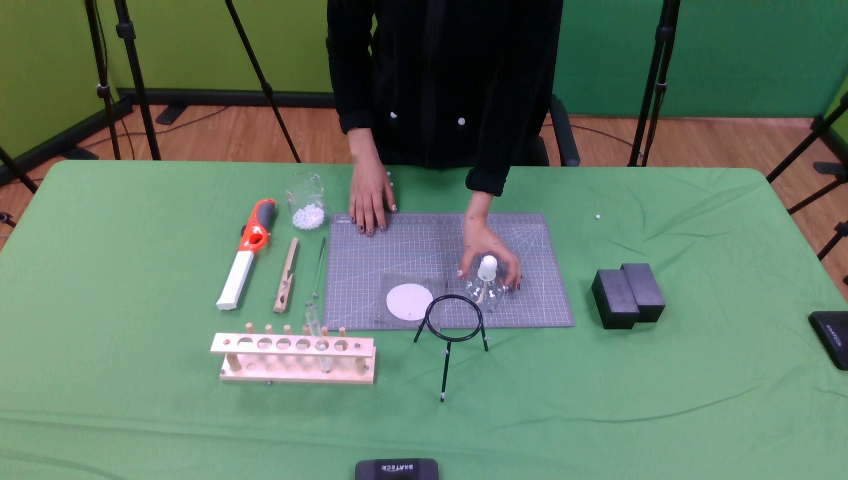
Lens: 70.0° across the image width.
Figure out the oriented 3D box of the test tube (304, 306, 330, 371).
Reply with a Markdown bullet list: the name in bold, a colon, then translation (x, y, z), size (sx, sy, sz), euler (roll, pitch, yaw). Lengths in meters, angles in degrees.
- **test tube**: translation (-0.162, 0.154, 0.925), size (0.017, 0.151, 0.017), euler (-2, 44, 2)

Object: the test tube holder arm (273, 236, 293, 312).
- **test tube holder arm**: translation (-0.260, 0.059, 1.122), size (0.013, 0.015, 0.177), euler (29, 38, -29)

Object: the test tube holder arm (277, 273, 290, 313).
- **test tube holder arm**: translation (-0.254, 0.094, 1.094), size (0.010, 0.015, 0.087), euler (30, 38, -28)

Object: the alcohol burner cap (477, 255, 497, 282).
- **alcohol burner cap**: translation (0.110, 0.047, 1.045), size (0.034, 0.048, 0.033), euler (2, 51, -2)

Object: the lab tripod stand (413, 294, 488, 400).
- **lab tripod stand**: translation (0.044, 0.160, 0.972), size (0.148, 0.132, 0.147), euler (3, 44, -2)

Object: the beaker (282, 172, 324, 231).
- **beaker**: translation (-0.234, -0.072, 1.198), size (0.084, 0.101, 0.074), euler (24, 49, 17)

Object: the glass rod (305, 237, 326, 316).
- **glass rod**: translation (-0.202, 0.064, 1.131), size (0.008, 0.008, 0.198), euler (4, 44, 0)

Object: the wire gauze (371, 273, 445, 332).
- **wire gauze**: translation (-0.028, 0.109, 1.099), size (0.125, 0.011, 0.121), euler (7, 45, 4)

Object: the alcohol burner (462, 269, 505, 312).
- **alcohol burner**: translation (0.108, 0.071, 1.072), size (0.078, 0.119, 0.077), euler (4, 45, -3)

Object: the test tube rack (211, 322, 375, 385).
- **test tube rack**: translation (-0.202, 0.177, 0.969), size (0.242, 0.085, 0.066), euler (3, 46, -2)

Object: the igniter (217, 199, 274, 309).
- **igniter**: translation (-0.336, 0.018, 1.152), size (0.057, 0.025, 0.275), euler (-2, 45, 8)
